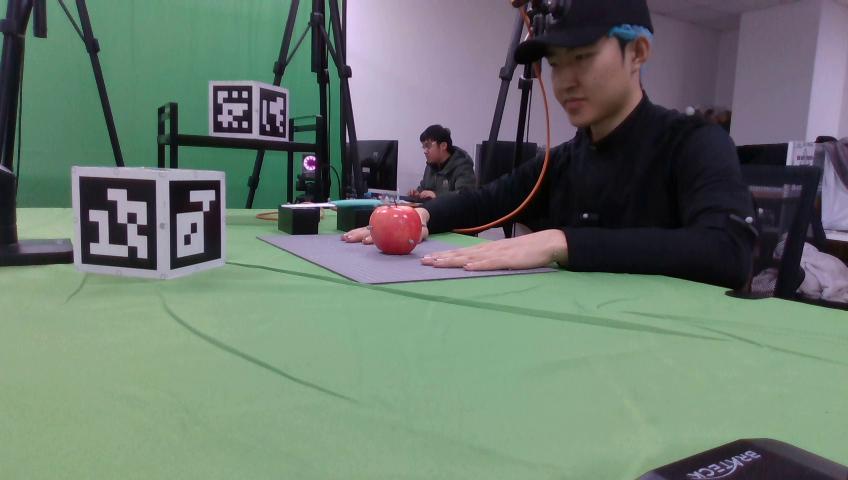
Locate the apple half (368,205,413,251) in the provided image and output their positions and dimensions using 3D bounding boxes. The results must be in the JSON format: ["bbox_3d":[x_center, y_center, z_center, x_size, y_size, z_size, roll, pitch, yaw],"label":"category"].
[{"bbox_3d":[-0.059,-0.020,0.951,0.082,0.081,0.032,-2,13,-32],"label":"apple half"}]

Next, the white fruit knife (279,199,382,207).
[{"bbox_3d":[-0.182,-0.072,1.188,0.208,0.016,0.027,-3,17,-31],"label":"white fruit knife"}]

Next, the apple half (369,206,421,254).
[{"bbox_3d":[-0.039,-0.014,0.919,0.081,0.074,0.053,3,10,-32],"label":"apple half"}]
